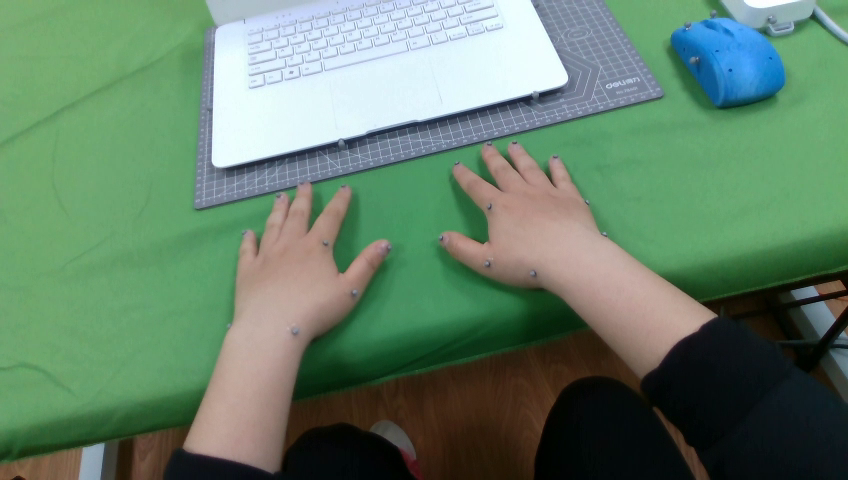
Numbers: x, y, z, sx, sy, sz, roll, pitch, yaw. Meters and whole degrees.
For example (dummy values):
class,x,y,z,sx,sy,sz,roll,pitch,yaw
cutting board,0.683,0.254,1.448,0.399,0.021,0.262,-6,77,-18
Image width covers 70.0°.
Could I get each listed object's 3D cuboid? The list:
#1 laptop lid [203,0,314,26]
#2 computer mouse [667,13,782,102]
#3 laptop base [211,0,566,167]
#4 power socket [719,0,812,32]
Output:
class,x,y,z,sx,sy,sz,roll,pitch,yaw
laptop lid,-0.098,-0.376,0.640,0.357,0.244,0.013,-15,40,1
computer mouse,0.275,-0.176,0.560,0.063,0.041,0.116,-14,48,3
laptop base,-0.053,-0.197,0.647,0.354,0.023,0.233,-14,56,0
power socket,0.331,-0.301,0.644,0.072,0.033,0.224,-11,53,3
